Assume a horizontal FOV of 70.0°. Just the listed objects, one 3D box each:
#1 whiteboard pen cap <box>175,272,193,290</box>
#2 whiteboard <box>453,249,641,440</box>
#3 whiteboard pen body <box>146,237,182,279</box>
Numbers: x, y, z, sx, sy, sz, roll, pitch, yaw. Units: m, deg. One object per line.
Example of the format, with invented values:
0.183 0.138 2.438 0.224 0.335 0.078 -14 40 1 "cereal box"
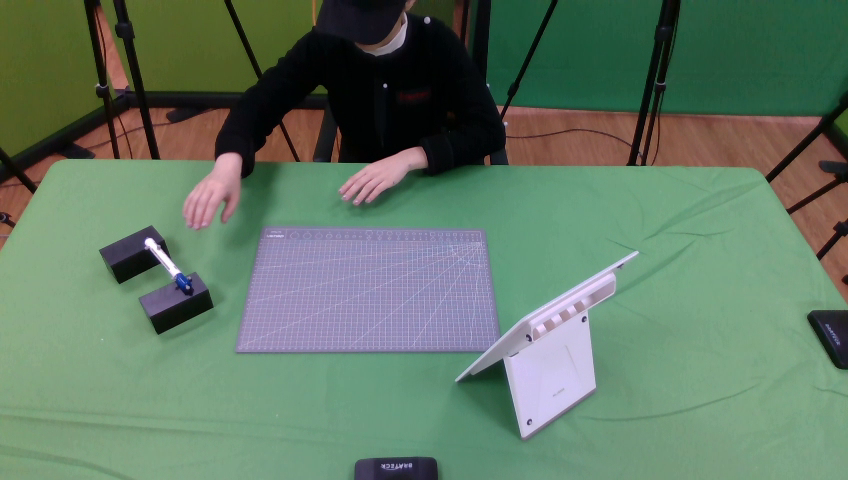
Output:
-0.409 0.069 1.032 0.018 0.018 0.033 -32 56 -29 "whiteboard pen cap"
0.206 0.174 0.890 0.217 0.306 0.143 -24 72 -25 "whiteboard"
-0.449 0.038 1.061 0.017 0.017 0.140 -32 57 -30 "whiteboard pen body"
